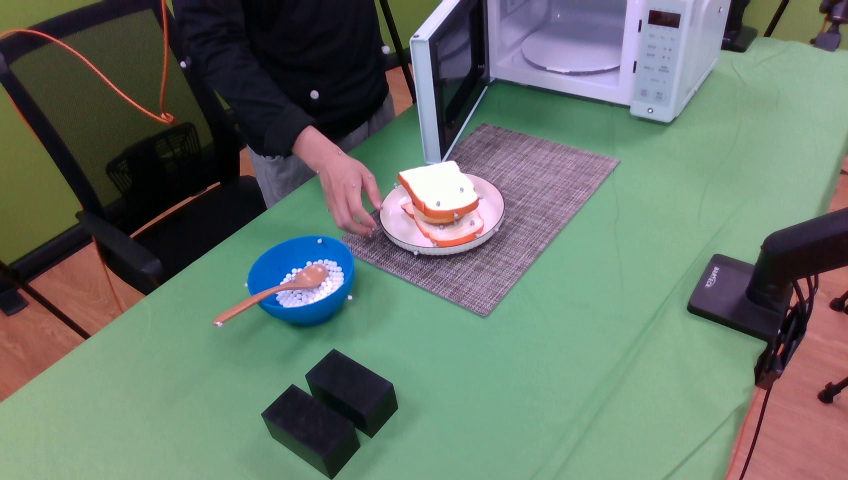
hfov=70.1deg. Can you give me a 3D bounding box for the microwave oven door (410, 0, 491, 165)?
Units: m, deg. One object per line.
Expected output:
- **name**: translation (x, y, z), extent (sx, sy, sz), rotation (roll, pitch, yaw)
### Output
- **microwave oven door**: translation (0.062, -0.342, 1.164), extent (0.039, 0.245, 0.355), rotation (9, 43, 18)

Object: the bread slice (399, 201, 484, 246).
- **bread slice**: translation (0.036, -0.038, 0.990), extent (0.107, 0.018, 0.133), rotation (-23, 43, -18)

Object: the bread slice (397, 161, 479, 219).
- **bread slice**: translation (0.028, -0.080, 0.952), extent (0.105, 0.019, 0.130), rotation (-15, 43, -18)

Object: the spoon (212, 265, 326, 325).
- **spoon**: translation (-0.208, 0.072, 0.822), extent (0.041, 0.021, 0.195), rotation (26, 28, 27)

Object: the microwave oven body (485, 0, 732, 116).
- **microwave oven body**: translation (0.377, -0.462, 1.267), extent (0.438, 0.261, 0.327), rotation (21, 48, 30)

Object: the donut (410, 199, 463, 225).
- **donut**: translation (0.027, -0.062, 0.978), extent (0.099, 0.048, 0.098), rotation (-5, 39, 4)

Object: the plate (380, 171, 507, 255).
- **plate**: translation (0.033, -0.042, 0.995), extent (0.207, 0.039, 0.206), rotation (-4, 40, 4)

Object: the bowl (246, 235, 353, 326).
- **bowl**: translation (-0.170, 0.070, 0.868), extent (0.151, 0.077, 0.150), rotation (-4, 41, 4)

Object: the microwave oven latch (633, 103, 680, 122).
- **microwave oven latch**: translation (0.444, -0.249, 1.157), extent (0.078, 0.029, 0.030), rotation (21, 49, 30)
